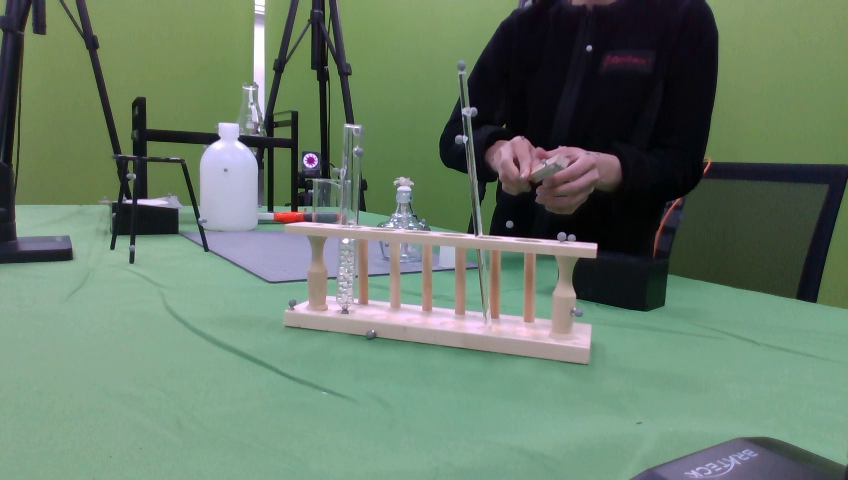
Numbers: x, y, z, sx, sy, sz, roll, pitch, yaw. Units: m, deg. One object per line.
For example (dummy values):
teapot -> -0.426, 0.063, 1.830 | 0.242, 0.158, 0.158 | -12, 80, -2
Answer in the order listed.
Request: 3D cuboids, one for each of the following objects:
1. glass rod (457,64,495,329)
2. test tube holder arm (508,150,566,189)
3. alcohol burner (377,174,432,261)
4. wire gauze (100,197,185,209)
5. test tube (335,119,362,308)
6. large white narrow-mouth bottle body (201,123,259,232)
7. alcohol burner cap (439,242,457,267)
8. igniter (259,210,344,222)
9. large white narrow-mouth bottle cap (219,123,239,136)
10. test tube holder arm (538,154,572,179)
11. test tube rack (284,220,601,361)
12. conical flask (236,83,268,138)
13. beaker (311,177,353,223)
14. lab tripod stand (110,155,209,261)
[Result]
glass rod -> 0.039, -0.029, 0.449 | 0.008, 0.199, 0.008 | -7, 9, 1
test tube holder arm -> 0.144, -0.089, 0.794 | 0.013, 0.015, 0.178 | 35, -11, -7
alcohol burner -> -0.027, -0.031, 0.838 | 0.078, 0.119, 0.078 | 0, 6, 0
wire gauze -> -0.469, -0.062, 1.008 | 0.126, 0.011, 0.121 | -2, 8, -25
test tube -> -0.060, -0.019, 0.475 | 0.017, 0.150, 0.017 | 4, 11, 0
large white narrow-mouth bottle body -> -0.358, -0.116, 1.116 | 0.102, 0.194, 0.102 | 2, 8, 0
alcohol burner cap -> 0.037, 0.010, 0.807 | 0.034, 0.048, 0.034 | 4, 10, 0
igniter -> -0.303, -0.049, 1.258 | 0.278, 0.025, 0.057 | -2, -2, -28
large white narrow-mouth bottle cap -> -0.356, -0.201, 1.104 | 0.038, 0.024, 0.037 | 2, 8, 0
test tube holder arm -> 0.158, -0.090, 0.751 | 0.010, 0.015, 0.087 | 35, -11, -7
test tube rack -> 0.013, 0.032, 0.482 | 0.242, 0.085, 0.067 | 4, 7, 16
conical flask -> -0.400, -0.298, 1.396 | 0.075, 0.122, 0.075 | 2, 8, 0
beaker -> -0.167, -0.064, 1.106 | 0.074, 0.100, 0.083 | -2, 9, -27
lab tripod stand -> -0.361, -0.046, 0.806 | 0.148, 0.131, 0.148 | 2, 5, 0
